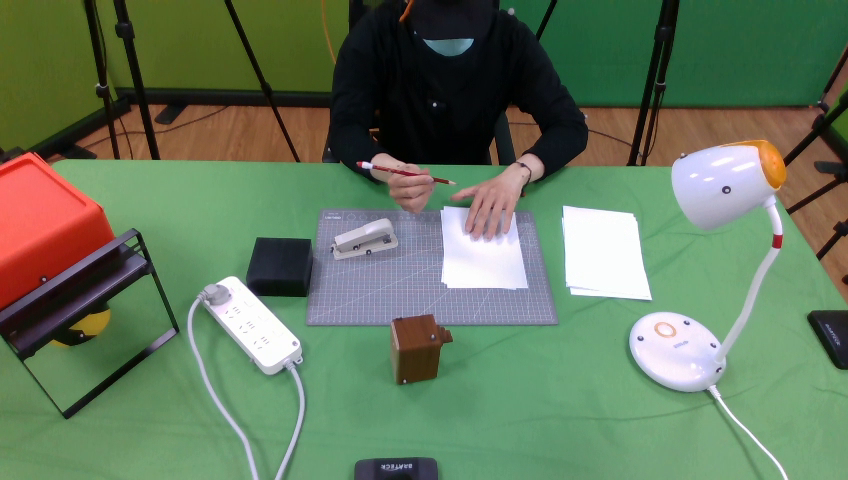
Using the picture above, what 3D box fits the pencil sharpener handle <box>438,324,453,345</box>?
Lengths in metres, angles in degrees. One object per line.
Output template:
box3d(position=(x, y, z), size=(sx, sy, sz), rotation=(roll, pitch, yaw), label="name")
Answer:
box3d(position=(0.036, 0.155, 0.976), size=(0.031, 0.068, 0.036), rotation=(-8, 69, -11), label="pencil sharpener handle")

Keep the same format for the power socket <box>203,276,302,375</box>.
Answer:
box3d(position=(-0.297, 0.141, 1.034), size=(0.072, 0.033, 0.225), rotation=(-34, 58, -30), label="power socket")

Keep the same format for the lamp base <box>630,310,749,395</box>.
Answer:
box3d(position=(0.447, 0.143, 0.984), size=(0.161, 0.181, 0.178), rotation=(-24, 55, -24), label="lamp base")

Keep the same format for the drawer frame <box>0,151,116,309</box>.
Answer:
box3d(position=(-0.604, -0.013, 0.876), size=(0.201, 0.083, 0.213), rotation=(31, 52, 23), label="drawer frame")

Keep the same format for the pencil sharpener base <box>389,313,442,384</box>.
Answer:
box3d(position=(-0.013, 0.175, 0.971), size=(0.077, 0.107, 0.061), rotation=(-8, 47, -11), label="pencil sharpener base")

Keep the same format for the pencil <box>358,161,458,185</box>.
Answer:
box3d(position=(-0.030, -0.123, 1.124), size=(0.194, 0.012, 0.012), rotation=(13, 47, 6), label="pencil")

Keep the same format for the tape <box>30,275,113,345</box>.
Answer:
box3d(position=(-0.594, 0.117, 1.022), size=(0.117, 0.053, 0.116), rotation=(2, 45, -2), label="tape")

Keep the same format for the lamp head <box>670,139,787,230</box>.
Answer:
box3d(position=(0.415, -0.079, 0.812), size=(0.113, 0.123, 0.112), rotation=(13, 70, -37), label="lamp head")

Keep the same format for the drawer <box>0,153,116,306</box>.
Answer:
box3d(position=(-0.601, -0.015, 0.880), size=(0.193, 0.073, 0.211), rotation=(32, 53, 23), label="drawer")

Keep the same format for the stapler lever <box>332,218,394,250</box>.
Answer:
box3d(position=(-0.116, -0.013, 1.161), size=(0.118, 0.040, 0.026), rotation=(-13, 47, -14), label="stapler lever")

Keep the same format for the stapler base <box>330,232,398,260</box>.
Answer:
box3d(position=(-0.116, 0.004, 1.181), size=(0.131, 0.024, 0.041), rotation=(-13, 47, -14), label="stapler base")

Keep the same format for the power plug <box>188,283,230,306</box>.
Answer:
box3d(position=(-0.368, 0.099, 1.037), size=(0.072, 0.053, 0.035), rotation=(-24, 52, -26), label="power plug")
